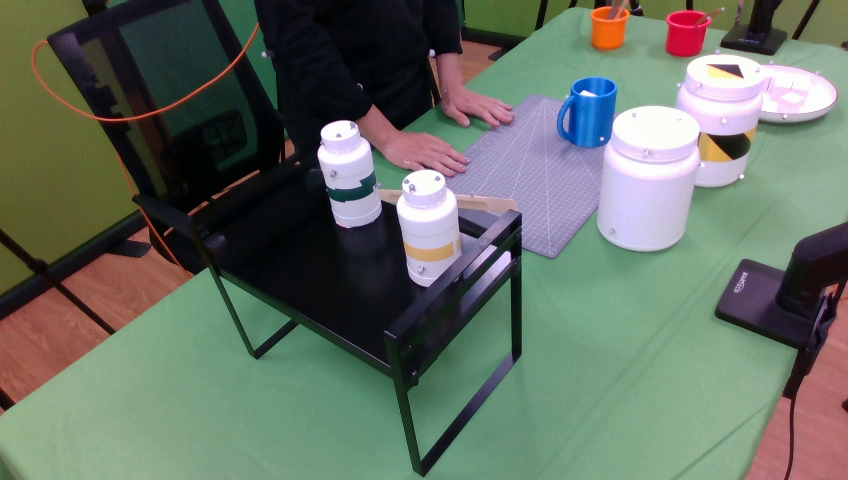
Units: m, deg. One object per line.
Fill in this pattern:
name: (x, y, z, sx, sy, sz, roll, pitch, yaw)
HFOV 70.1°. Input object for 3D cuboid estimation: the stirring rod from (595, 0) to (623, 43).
stirring rod: (0.460, -0.556, 1.459, 0.014, 0.006, 0.176, 29, 93, 22)

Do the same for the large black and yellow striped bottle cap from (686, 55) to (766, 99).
large black and yellow striped bottle cap: (0.474, -0.258, 0.952, 0.115, 0.019, 0.114, -5, 41, 5)

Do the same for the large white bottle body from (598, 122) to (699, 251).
large white bottle body: (0.334, -0.090, 0.906, 0.130, 0.185, 0.130, -5, 41, 5)

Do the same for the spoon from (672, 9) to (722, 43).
spoon: (0.606, -0.476, 1.345, 0.042, 0.021, 0.193, -6, -3, -2)

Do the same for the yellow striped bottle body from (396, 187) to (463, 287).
yellow striped bottle body: (0.006, -0.013, 0.638, 0.063, 0.121, 0.062, -5, 41, 4)

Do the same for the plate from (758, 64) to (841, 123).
plate: (0.694, -0.283, 1.189, 0.207, 0.039, 0.206, -4, 40, 4)

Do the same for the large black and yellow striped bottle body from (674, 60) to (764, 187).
large black and yellow striped bottle body: (0.482, -0.196, 1.008, 0.131, 0.185, 0.130, -4, 41, 4)

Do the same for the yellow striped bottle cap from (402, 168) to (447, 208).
yellow striped bottle cap: (0.000, -0.052, 0.604, 0.044, 0.019, 0.044, -4, 43, 5)

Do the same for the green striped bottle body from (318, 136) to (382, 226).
green striped bottle body: (-0.090, -0.080, 0.733, 0.063, 0.120, 0.063, -4, 41, 4)

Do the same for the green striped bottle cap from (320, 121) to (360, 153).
green striped bottle cap: (-0.097, -0.119, 0.699, 0.044, 0.020, 0.044, -4, 39, 4)

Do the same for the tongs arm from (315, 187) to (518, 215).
tongs arm: (-0.028, -0.060, 0.988, 0.382, 0.027, 0.051, 10, 45, 36)

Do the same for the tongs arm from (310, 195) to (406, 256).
tongs arm: (-0.078, -0.013, 0.944, 0.028, 0.028, 0.384, -42, 39, -23)

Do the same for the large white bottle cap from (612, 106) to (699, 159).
large white bottle cap: (0.325, -0.153, 0.850, 0.115, 0.018, 0.114, -4, 41, 4)

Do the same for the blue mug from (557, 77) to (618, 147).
blue mug: (0.303, -0.237, 1.139, 0.117, 0.106, 0.081, -19, 42, -13)

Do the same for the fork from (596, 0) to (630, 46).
fork: (0.480, -0.556, 1.452, 0.028, 0.019, 0.207, 40, 103, 40)
